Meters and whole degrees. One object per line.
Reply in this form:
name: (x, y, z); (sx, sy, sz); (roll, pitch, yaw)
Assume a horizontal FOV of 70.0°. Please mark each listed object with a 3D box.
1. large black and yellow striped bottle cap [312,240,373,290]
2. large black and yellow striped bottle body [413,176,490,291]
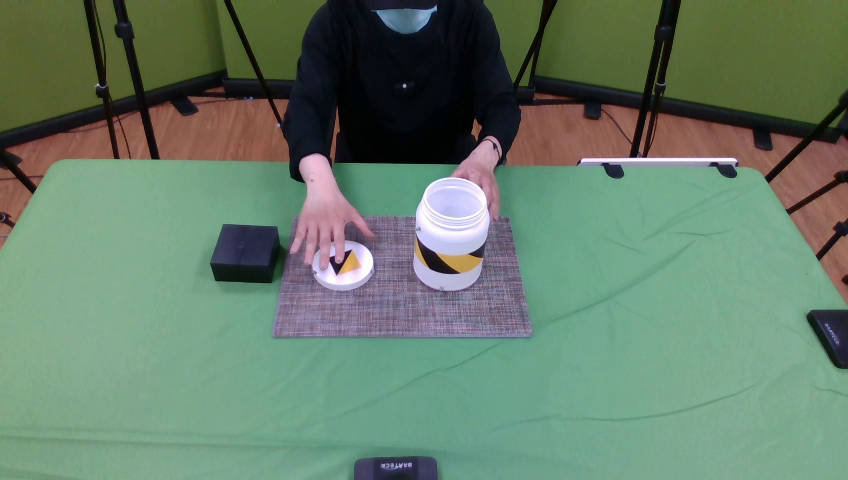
large black and yellow striped bottle cap: (-0.153, 0.045, 1.140); (0.115, 0.019, 0.114); (3, 47, -3)
large black and yellow striped bottle body: (0.048, -0.011, 1.091); (0.131, 0.185, 0.130); (2, 46, -2)
